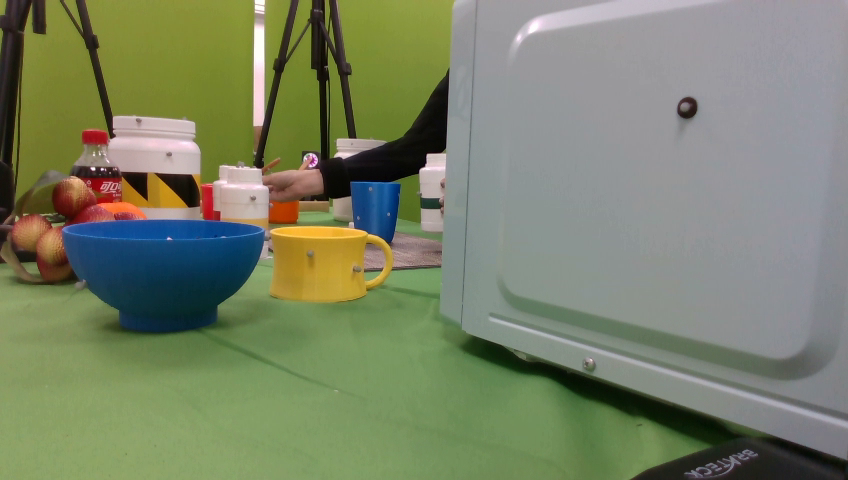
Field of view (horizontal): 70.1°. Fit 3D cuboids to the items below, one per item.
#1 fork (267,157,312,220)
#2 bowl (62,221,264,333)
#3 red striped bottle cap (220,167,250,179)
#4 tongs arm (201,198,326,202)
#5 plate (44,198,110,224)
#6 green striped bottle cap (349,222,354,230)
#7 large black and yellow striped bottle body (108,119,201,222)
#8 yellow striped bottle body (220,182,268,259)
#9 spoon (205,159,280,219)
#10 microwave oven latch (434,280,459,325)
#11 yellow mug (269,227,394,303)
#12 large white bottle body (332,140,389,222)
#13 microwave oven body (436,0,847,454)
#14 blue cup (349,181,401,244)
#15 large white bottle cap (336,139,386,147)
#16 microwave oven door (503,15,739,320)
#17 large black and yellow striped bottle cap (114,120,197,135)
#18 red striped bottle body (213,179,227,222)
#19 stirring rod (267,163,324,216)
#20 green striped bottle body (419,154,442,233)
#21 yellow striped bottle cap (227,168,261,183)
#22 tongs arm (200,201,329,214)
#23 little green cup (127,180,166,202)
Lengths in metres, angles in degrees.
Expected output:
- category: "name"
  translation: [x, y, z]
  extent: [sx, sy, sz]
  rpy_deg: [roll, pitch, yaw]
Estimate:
- category: "fork"
  translation: [-0.290, -0.116, 1.321]
  extent: [0.028, 0.019, 0.207]
  rpy_deg: [6, 51, 19]
- category: "bowl"
  translation: [-0.209, 0.029, 0.496]
  extent: [0.151, 0.077, 0.151]
  rpy_deg: [2, 7, 0]
- category: "red striped bottle cap"
  translation: [-0.281, -0.100, 0.901]
  extent: [0.044, 0.017, 0.044]
  rpy_deg: [0, 5, 0]
- category: "tongs arm"
  translation: [-0.433, -0.089, 1.508]
  extent: [0.390, 0.028, 0.028]
  rpy_deg: [-1, 2, -29]
- category: "plate"
  translation: [-0.617, -0.056, 1.179]
  extent: [0.209, 0.038, 0.209]
  rpy_deg: [3, 7, 0]
- category: "green striped bottle cap"
  translation: [-0.121, -0.026, 1.155]
  extent: [0.044, 0.020, 0.044]
  rpy_deg: [-7, 11, 2]
- category: "large black and yellow striped bottle body"
  translation: [-0.412, -0.088, 0.930]
  extent: [0.131, 0.184, 0.130]
  rpy_deg: [3, 7, 0]
- category: "yellow striped bottle body"
  translation: [-0.246, -0.036, 0.825]
  extent: [0.063, 0.120, 0.063]
  rpy_deg: [3, 8, 0]
- category: "spoon"
  translation: [-0.364, -0.103, 1.214]
  extent: [0.193, 0.021, 0.041]
  rpy_deg: [-42, 4, 6]
- category: "microwave oven latch"
  translation: [0.044, 0.045, 0.470]
  extent: [0.079, 0.029, 0.030]
  rpy_deg: [-2, 8, -39]
- category: "yellow mug"
  translation: [-0.094, 0.023, 0.629]
  extent: [0.131, 0.064, 0.099]
  rpy_deg: [0, 7, -22]
- category: "large white bottle body"
  translation: [-0.146, -0.136, 1.388]
  extent: [0.131, 0.184, 0.130]
  rpy_deg: [2, 8, 0]
- category: "microwave oven body"
  translation: [0.279, -0.040, 0.465]
  extent: [0.444, 0.260, 0.324]
  rpy_deg: [-3, 9, -41]
- category: "blue cup"
  translation: [-0.082, -0.047, 1.010]
  extent: [0.093, 0.100, 0.092]
  rpy_deg: [1, 6, 0]
- category: "large white bottle cap"
  translation: [-0.143, -0.219, 1.375]
  extent: [0.115, 0.018, 0.115]
  rpy_deg: [2, 8, 0]
- category: "microwave oven door"
  translation: [0.218, -0.065, 0.601]
  extent: [0.358, 0.243, 0.039]
  rpy_deg: [-4, 10, -41]
- category: "large black and yellow striped bottle cap"
  translation: [-0.407, -0.171, 0.920]
  extent: [0.115, 0.019, 0.115]
  rpy_deg: [2, 9, 0]
- category: "red striped bottle body"
  translation: [-0.284, -0.048, 0.909]
  extent: [0.063, 0.119, 0.063]
  rpy_deg: [3, 12, 0]
- category: "stirring rod"
  translation: [-0.278, -0.105, 1.294]
  extent: [0.176, 0.006, 0.014]
  rpy_deg: [-47, 26, -18]
- category: "green striped bottle body"
  translation: [0.024, -0.072, 0.927]
  extent: [0.063, 0.119, 0.063]
  rpy_deg: [-2, 7, 1]
- category: "yellow striped bottle cap"
  translation: [-0.243, -0.087, 0.818]
  extent: [0.044, 0.018, 0.044]
  rpy_deg: [3, 6, 0]
- category: "tongs arm"
  translation: [-0.378, -0.079, 1.440]
  extent: [0.387, 0.026, 0.050]
  rpy_deg: [-4, 7, -44]
- category: "little green cup"
  translation: [-0.485, -0.086, 1.061]
  extent: [0.061, 0.038, 0.061]
  rpy_deg: [1, 7, 0]
